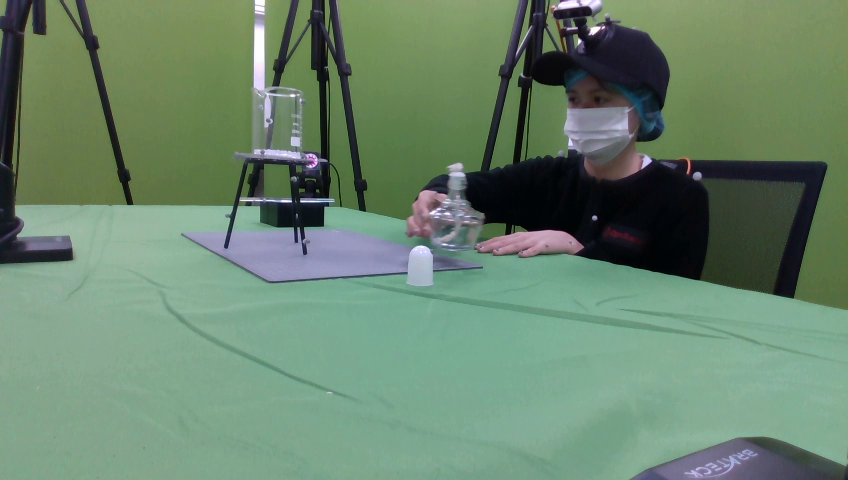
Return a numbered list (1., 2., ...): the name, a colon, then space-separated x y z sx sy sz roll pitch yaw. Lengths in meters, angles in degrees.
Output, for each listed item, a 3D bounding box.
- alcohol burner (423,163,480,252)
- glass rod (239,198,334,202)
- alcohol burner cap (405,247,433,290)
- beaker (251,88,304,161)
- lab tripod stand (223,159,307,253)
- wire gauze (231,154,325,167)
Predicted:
1. alcohol burner: 0.038 -0.044 0.809 0.078 0.119 0.078 3 11 0
2. glass rod: -0.277 -0.081 1.232 0.201 0.008 0.008 -1 8 -30
3. alcohol burner cap: -0.005 0.031 0.698 0.034 0.048 0.034 3 8 0
4. beaker: -0.214 -0.165 0.874 0.074 0.100 0.084 4 6 15
5. lab tripod stand: -0.220 -0.053 0.896 0.148 0.131 0.148 1 6 0
6. wire gauze: -0.215 -0.117 0.882 0.125 0.011 0.121 3 7 -19
